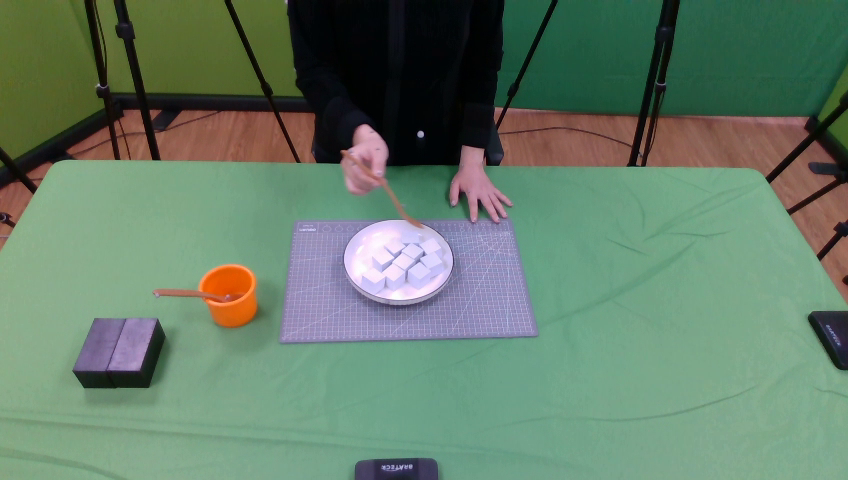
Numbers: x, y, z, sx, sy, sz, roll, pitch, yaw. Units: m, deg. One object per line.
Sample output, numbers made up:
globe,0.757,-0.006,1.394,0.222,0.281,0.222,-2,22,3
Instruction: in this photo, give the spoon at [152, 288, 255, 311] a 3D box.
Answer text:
spoon,-0.357,0.092,0.992,0.021,0.195,0.041,-46,59,13

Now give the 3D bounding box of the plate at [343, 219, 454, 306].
plate,-0.047,0.045,1.136,0.208,0.039,0.206,2,46,-2

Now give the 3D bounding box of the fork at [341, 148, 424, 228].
fork,-0.066,-0.081,0.990,0.018,0.208,0.028,-38,37,6
